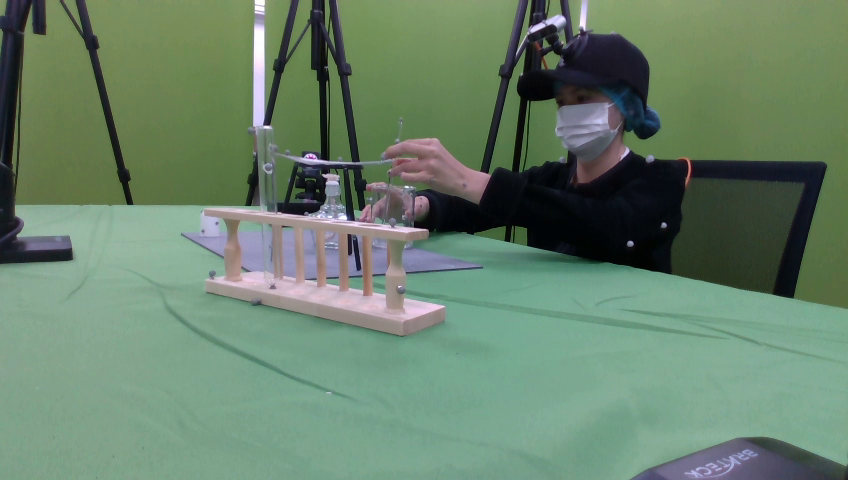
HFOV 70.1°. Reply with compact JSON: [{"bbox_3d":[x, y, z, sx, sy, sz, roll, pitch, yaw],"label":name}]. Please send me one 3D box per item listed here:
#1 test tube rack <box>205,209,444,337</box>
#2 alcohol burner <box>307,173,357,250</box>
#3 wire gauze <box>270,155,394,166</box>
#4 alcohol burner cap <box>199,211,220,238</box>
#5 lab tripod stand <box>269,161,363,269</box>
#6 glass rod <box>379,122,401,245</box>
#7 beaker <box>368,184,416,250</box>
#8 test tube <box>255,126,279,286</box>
[{"bbox_3d":[-0.100,0.021,0.565,0.241,0.085,0.067,7,9,32],"label":"test tube rack"},{"bbox_3d":[-0.144,-0.045,0.940,0.078,0.119,0.078,1,8,0],"label":"alcohol burner"},{"bbox_3d":[-0.121,-0.102,0.785,0.122,0.011,0.124,-3,10,-39],"label":"wire gauze"},{"bbox_3d":[-0.356,-0.027,1.002,0.034,0.048,0.034,2,7,0],"label":"alcohol burner cap"},{"bbox_3d":[-0.125,-0.036,0.794,0.148,0.131,0.148,5,7,0],"label":"lab tripod stand"},{"bbox_3d":[-0.053,-0.086,0.950,0.008,0.199,0.008,9,17,-3],"label":"glass rod"},{"bbox_3d":[-0.051,-0.036,0.957,0.074,0.100,0.083,-1,9,-24],"label":"beaker"},{"bbox_3d":[-0.147,-0.031,0.566,0.017,0.150,0.017,-1,8,0],"label":"test tube"}]
